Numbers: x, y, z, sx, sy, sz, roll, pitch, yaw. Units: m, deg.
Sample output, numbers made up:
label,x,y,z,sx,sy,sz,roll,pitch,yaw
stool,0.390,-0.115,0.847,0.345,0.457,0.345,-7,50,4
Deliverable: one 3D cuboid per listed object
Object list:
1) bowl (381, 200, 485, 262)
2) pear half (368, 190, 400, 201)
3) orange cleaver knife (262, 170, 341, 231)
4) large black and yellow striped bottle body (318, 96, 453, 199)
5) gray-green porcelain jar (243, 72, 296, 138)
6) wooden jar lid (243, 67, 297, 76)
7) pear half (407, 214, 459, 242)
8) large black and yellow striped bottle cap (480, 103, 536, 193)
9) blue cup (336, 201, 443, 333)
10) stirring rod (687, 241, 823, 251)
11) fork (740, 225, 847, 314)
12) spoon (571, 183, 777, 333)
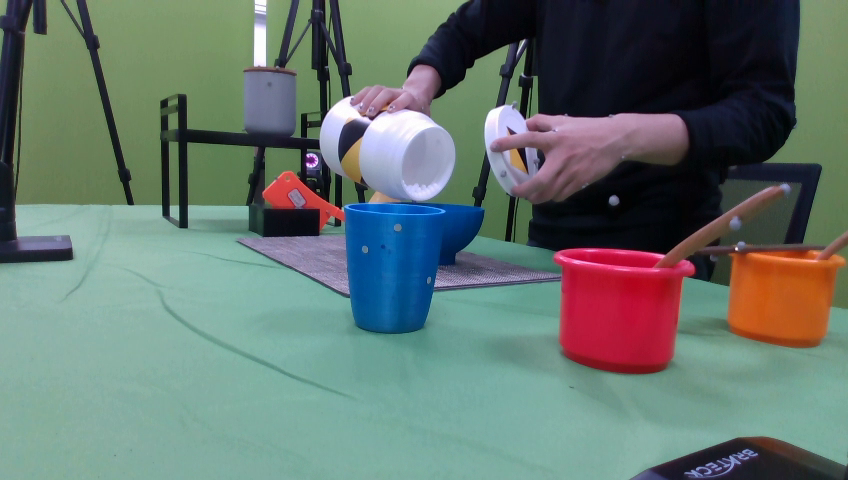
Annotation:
label,x,y,z,sx,sy,sz,roll,pitch,yaw
bowl,0.008,-0.013,0.841,0.151,0.077,0.151,2,7,0
pear half,-0.064,-0.061,1.077,0.055,0.110,0.077,9,14,39
orange cleaver knife,-0.201,-0.057,1.136,0.212,0.077,0.012,31,-3,-31
large black and yellow striped bottle body,-0.057,-0.138,0.906,0.131,0.130,0.183,-5,22,-44
gray-green porcelain jar,-0.322,-0.279,1.263,0.106,0.126,0.106,3,8,0
wooden jar lid,-0.319,-0.342,1.254,0.108,0.020,0.108,2,8,0
pear half,0.010,-0.020,0.848,0.070,0.031,0.088,6,13,31
large black and yellow striped bottle cap,0.109,-0.116,0.764,0.018,0.115,0.115,-14,-3,35
blue cup,-0.029,0.021,0.508,0.093,0.100,0.092,3,9,0
stirring rod,0.289,0.005,0.525,0.177,0.006,0.014,-1,6,-26
fork,0.323,0.013,0.485,0.028,0.018,0.207,9,-38,-5
spoon,0.161,0.020,0.413,0.042,0.021,0.193,0,-36,-24
